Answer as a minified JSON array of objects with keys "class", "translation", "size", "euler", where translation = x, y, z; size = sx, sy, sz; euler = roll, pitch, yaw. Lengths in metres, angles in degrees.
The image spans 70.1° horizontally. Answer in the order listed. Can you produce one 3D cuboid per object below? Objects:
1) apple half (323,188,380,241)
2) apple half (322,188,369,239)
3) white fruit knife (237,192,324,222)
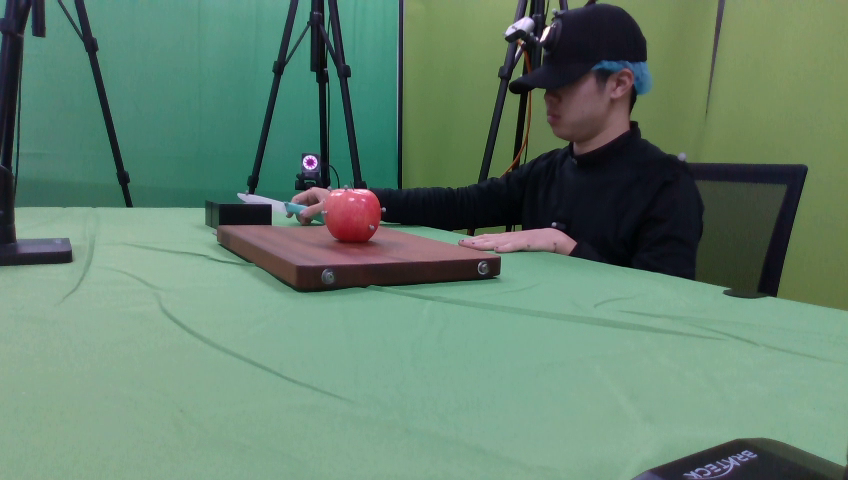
[{"class":"apple half","translation":[-0.094,-0.034,0.839],"size":[0.081,0.074,0.053],"euler":[1,11,-41]},{"class":"apple half","translation":[-0.119,-0.040,0.868],"size":[0.082,0.081,0.032],"euler":[-4,14,-41]},{"class":"white fruit knife","translation":[-0.286,-0.069,1.251],"size":[0.208,0.027,0.016],"euler":[14,-1,-35]}]
